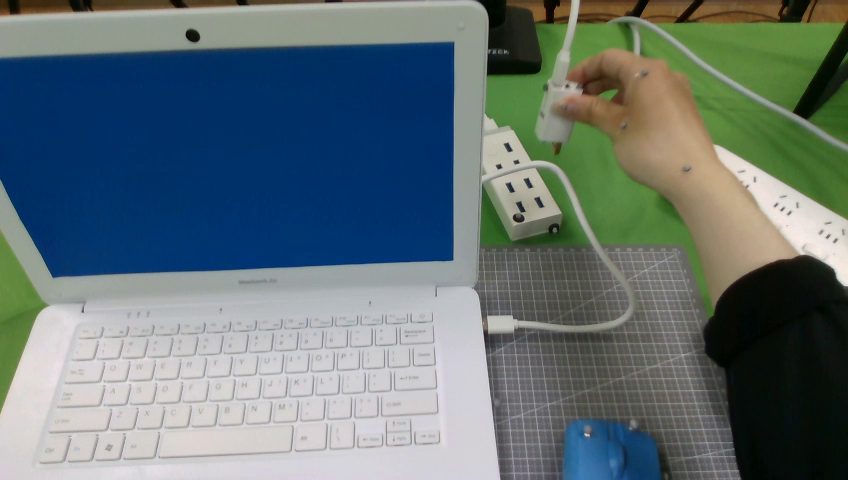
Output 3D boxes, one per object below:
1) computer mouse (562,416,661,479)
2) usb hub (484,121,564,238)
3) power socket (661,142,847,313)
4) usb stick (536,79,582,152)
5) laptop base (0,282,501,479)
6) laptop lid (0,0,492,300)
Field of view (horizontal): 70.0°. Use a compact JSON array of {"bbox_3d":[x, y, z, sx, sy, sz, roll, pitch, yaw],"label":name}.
[{"bbox_3d":[0.120,0.168,0.392,0.062,0.041,0.116,9,49,10],"label":"computer mouse"},{"bbox_3d":[0.084,-0.060,0.576,0.049,0.025,0.124,-15,54,-9],"label":"usb hub"},{"bbox_3d":[0.322,-0.012,0.535,0.072,0.033,0.224,-36,60,-25],"label":"power socket"},{"bbox_3d":[0.108,-0.099,0.493,0.027,0.059,0.021,-2,38,-7],"label":"usb stick"},{"bbox_3d":[-0.126,0.139,0.430,0.354,0.023,0.233,-2,56,-1],"label":"laptop base"},{"bbox_3d":[-0.133,-0.047,0.424,0.357,0.244,0.013,-3,40,0],"label":"laptop lid"}]
